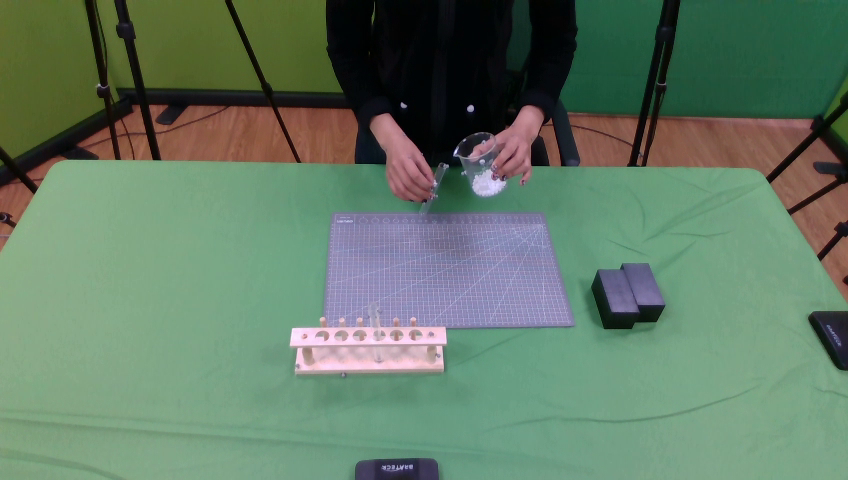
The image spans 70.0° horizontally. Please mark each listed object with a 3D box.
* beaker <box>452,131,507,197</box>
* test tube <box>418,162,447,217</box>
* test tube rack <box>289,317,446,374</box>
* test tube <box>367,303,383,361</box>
[{"bbox_3d":[0.105,-0.135,1.106,0.084,0.101,0.073,-15,41,13],"label":"beaker"},{"bbox_3d":[0.014,-0.094,1.161,0.017,0.151,0.017,10,51,-13],"label":"test tube"},{"bbox_3d":[-0.089,0.167,0.988,0.242,0.085,0.066,0,46,-4],"label":"test tube rack"},{"bbox_3d":[-0.075,0.146,0.941,0.017,0.151,0.017,0,49,0],"label":"test tube"}]
